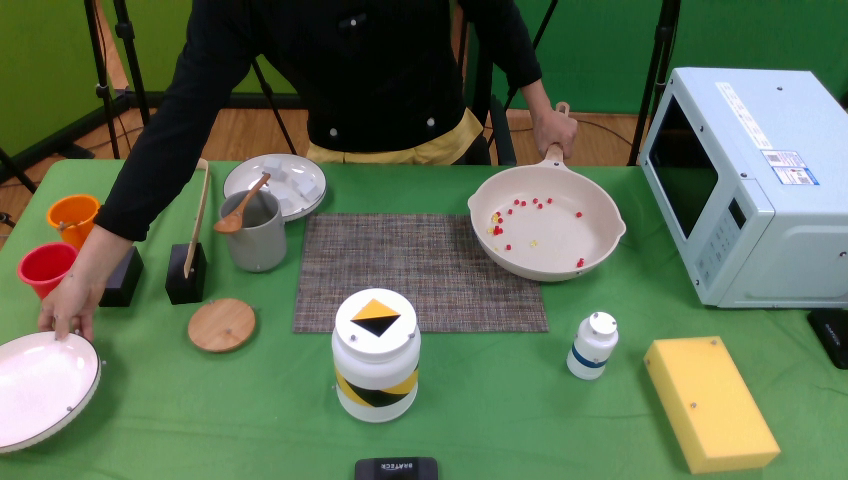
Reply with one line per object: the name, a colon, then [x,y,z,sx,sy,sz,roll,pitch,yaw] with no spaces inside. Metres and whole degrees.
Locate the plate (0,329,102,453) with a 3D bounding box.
plate: [-0.585,0.223,0.896,0.209,0.038,0.208,0,42,0]

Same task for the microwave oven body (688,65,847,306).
microwave oven body: [0.669,-0.111,1.176,0.326,0.261,0.439,0,46,-3]

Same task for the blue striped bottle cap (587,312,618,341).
blue striped bottle cap: [0.279,0.134,0.947,0.044,0.021,0.044,2,44,-2]

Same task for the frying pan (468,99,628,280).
frying pan: [0.264,-0.118,1.246,0.306,0.103,0.485,12,58,9]

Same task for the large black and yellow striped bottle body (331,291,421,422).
large black and yellow striped bottle body: [-0.071,0.175,0.911,0.131,0.185,0.130,2,47,-2]

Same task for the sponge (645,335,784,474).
sponge: [0.449,0.253,0.956,0.118,0.061,0.205,-4,46,-7]

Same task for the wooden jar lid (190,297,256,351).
wooden jar lid: [-0.342,0.145,1.033,0.108,0.021,0.107,2,46,-2]

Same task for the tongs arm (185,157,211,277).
tongs arm: [-0.446,-0.058,1.168,0.051,0.026,0.382,-2,37,-8]

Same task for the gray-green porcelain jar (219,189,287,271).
gray-green porcelain jar: [-0.309,-0.015,1.114,0.106,0.127,0.105,2,46,-2]

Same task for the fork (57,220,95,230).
fork: [-0.624,-0.027,1.086,0.028,0.207,0.018,-3,92,-16]

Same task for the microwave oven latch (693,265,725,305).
microwave oven latch: [0.523,0.081,1.115,0.030,0.029,0.078,2,46,-1]

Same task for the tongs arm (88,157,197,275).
tongs arm: [-0.530,-0.061,1.160,0.028,0.028,0.385,3,35,6]

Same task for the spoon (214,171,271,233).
spoon: [-0.312,-0.071,1.070,0.041,0.022,0.193,11,43,9]

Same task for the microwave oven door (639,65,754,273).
microwave oven door: [0.522,-0.147,1.192,0.039,0.245,0.353,0,47,-3]

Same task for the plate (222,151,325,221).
plate: [-0.310,-0.106,1.262,0.208,0.039,0.206,2,46,-2]

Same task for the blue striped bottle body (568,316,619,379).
blue striped bottle body: [0.276,0.168,0.984,0.063,0.121,0.062,2,46,-2]

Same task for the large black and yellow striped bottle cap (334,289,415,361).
large black and yellow striped bottle cap: [-0.069,0.117,0.850,0.115,0.019,0.114,2,45,-2]
